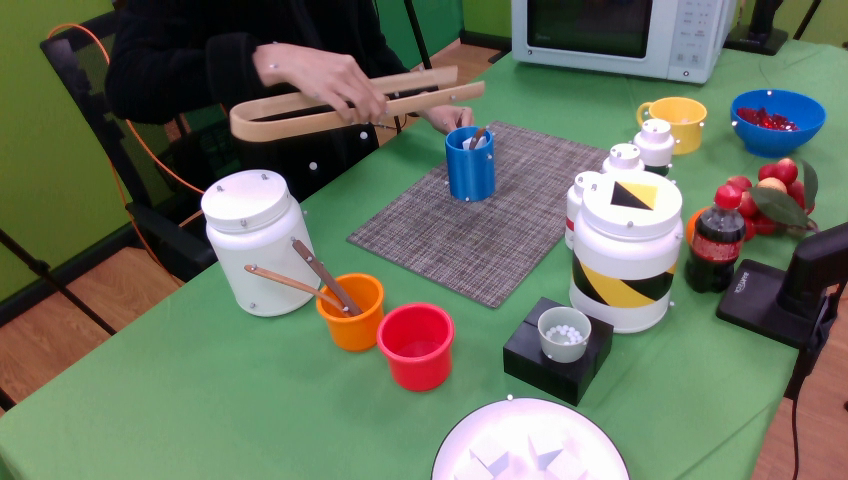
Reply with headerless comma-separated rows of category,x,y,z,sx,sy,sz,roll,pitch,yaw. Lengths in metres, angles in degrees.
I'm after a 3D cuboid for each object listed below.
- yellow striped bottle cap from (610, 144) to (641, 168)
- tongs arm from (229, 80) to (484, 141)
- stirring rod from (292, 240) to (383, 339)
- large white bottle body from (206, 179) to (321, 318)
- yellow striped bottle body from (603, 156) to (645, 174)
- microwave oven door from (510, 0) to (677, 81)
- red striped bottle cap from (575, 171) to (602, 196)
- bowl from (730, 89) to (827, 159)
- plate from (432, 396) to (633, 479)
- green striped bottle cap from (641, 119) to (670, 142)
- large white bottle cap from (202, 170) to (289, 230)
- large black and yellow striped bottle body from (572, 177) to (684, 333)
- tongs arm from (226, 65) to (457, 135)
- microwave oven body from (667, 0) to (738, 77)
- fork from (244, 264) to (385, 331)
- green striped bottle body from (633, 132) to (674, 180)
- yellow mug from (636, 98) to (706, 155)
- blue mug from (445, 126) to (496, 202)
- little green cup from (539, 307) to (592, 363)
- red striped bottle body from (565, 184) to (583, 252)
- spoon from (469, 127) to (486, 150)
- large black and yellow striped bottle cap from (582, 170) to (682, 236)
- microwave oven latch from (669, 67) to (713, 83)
yellow striped bottle cap,0.307,-0.128,0.923,0.044,0.019,0.044,-5,39,5
tongs arm,-0.070,-0.182,0.827,0.390,0.028,0.028,-18,49,-31
stirring rod,-0.118,0.068,0.826,0.176,0.006,0.014,48,59,-4
large white bottle body,-0.233,0.007,0.876,0.130,0.185,0.130,-5,40,4
yellow striped bottle body,0.313,-0.089,0.956,0.063,0.121,0.062,-4,40,4
microwave oven door,0.354,-0.478,1.290,0.353,0.245,0.039,15,45,25
red striped bottle cap,0.242,-0.081,0.876,0.044,0.018,0.044,-5,43,5
bowl,0.615,-0.197,1.069,0.151,0.077,0.150,-5,40,5
plate,0.112,0.261,0.634,0.209,0.038,0.208,-5,40,4
green striped bottle cap,0.371,-0.175,0.968,0.044,0.020,0.044,-5,41,5
large white bottle cap,-0.242,-0.057,0.822,0.115,0.018,0.114,-4,40,4
large black and yellow striped bottle body,0.262,0.017,0.788,0.131,0.185,0.130,-5,40,4
tongs arm,-0.093,-0.202,0.849,0.387,0.026,0.050,-18,46,-31
microwave oven body,0.462,-0.552,1.369,0.439,0.261,0.326,15,45,26
fork,-0.142,0.078,0.806,0.209,0.018,0.028,30,33,-23
green striped bottle body,0.376,-0.135,1.001,0.063,0.120,0.063,-5,40,5
yellow mug,0.453,-0.217,1.128,0.100,0.064,0.129,-34,46,-27
blue mug,0.078,-0.142,1.062,0.082,0.106,0.115,-12,40,-5
little green cup,0.167,0.114,0.721,0.061,0.039,0.061,-4,43,4
red striped bottle body,0.247,-0.041,0.910,0.063,0.120,0.062,-3,39,3
spoon,0.079,-0.145,0.999,0.042,0.194,0.021,-7,73,-5
large black and yellow striped bottle cap,0.252,-0.048,0.735,0.115,0.019,0.114,-3,40,3
microwave oven latch,0.556,-0.349,1.261,0.078,0.029,0.030,16,46,27
